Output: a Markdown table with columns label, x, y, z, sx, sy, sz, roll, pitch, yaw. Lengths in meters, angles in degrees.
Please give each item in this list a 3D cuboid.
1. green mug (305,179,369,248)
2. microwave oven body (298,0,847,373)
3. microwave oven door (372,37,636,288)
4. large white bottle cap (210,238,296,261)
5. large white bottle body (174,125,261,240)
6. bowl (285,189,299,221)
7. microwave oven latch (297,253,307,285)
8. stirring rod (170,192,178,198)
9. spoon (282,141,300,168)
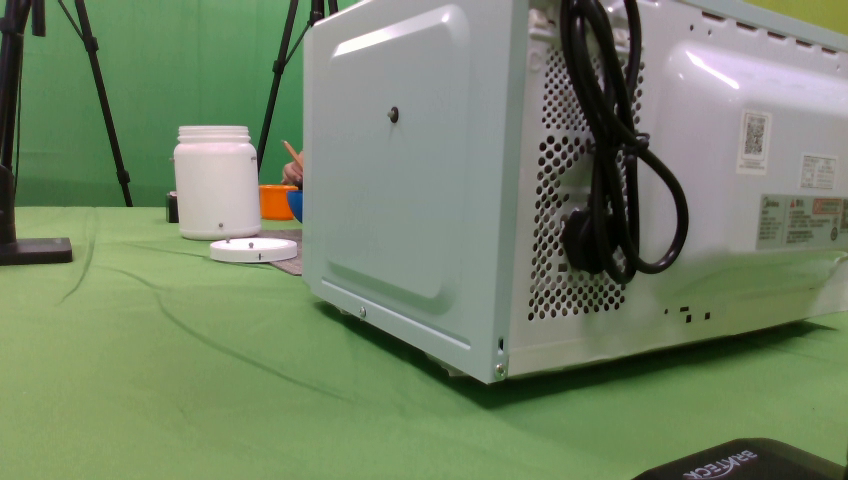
| label | x | y | z | sx | sy | sz | roll | pitch | yaw |
| --- | --- | --- | --- | --- | --- | --- | --- | --- | --- |
| green mug | -0.133 | -0.044 | 0.977 | 0.092 | 0.105 | 0.126 | 6 | 8 | 32 |
| microwave oven body | 0.151 | -0.055 | 0.542 | 0.444 | 0.260 | 0.324 | -2 | 7 | -33 |
| microwave oven door | 0.109 | -0.080 | 0.686 | 0.358 | 0.243 | 0.039 | -2 | 9 | -33 |
| large white bottle cap | -0.236 | 0.012 | 0.839 | 0.115 | 0.018 | 0.115 | 1 | 7 | 0 |
| large white bottle body | -0.349 | -0.100 | 1.025 | 0.131 | 0.184 | 0.130 | -1 | 9 | 0 |
| bowl | -0.179 | -0.051 | 1.112 | 0.151 | 0.077 | 0.151 | 3 | 8 | 0 |
| microwave oven latch | -0.082 | 0.027 | 0.582 | 0.079 | 0.029 | 0.030 | -1 | 7 | -32 |
| stirring rod | -0.465 | -0.098 | 1.283 | 0.014 | 0.006 | 0.177 | 42 | 21 | 17 |
| spoon | -0.212 | -0.108 | 1.124 | 0.021 | 0.193 | 0.042 | -34 | -10 | 26 |
